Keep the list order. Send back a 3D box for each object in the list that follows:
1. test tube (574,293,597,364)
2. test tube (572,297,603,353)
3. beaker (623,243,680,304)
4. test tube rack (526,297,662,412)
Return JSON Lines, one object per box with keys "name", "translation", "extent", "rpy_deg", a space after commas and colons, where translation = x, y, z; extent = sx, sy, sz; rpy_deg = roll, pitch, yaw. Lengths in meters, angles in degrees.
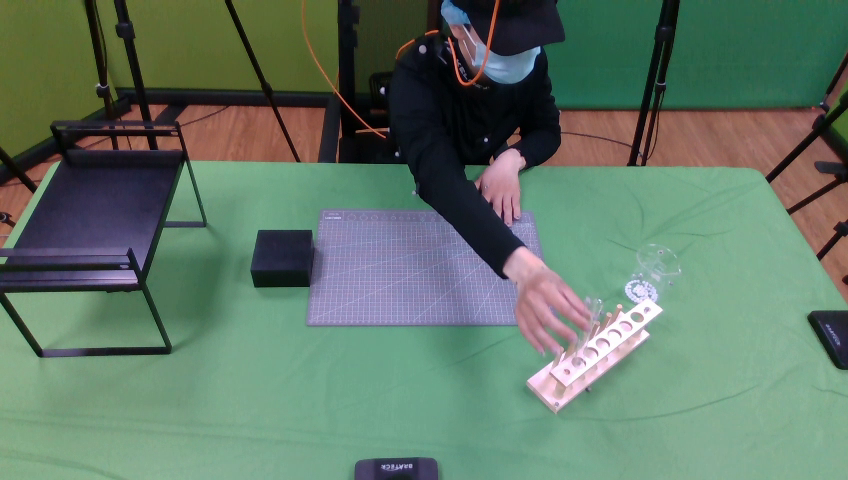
{"name": "test tube", "translation": [0.236, 0.133, 0.887], "extent": [0.017, 0.151, 0.017], "rpy_deg": [-2, 42, 2]}
{"name": "test tube", "translation": [0.262, 0.141, 0.977], "extent": [0.017, 0.151, 0.017], "rpy_deg": [2, 47, -2]}
{"name": "beaker", "translation": [0.414, 0.067, 1.111], "extent": [0.083, 0.101, 0.074], "rpy_deg": [31, 52, 22]}
{"name": "test tube rack", "translation": [0.284, 0.176, 1.007], "extent": [0.242, 0.085, 0.066], "rpy_deg": [-29, 54, -27]}
